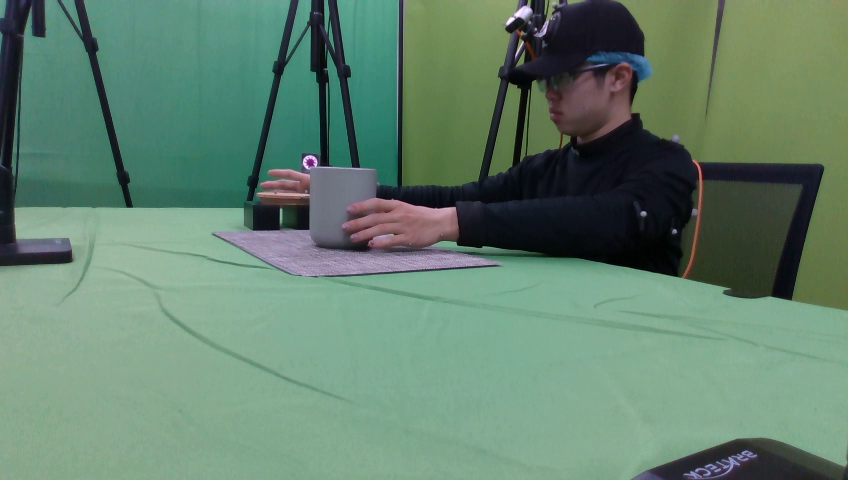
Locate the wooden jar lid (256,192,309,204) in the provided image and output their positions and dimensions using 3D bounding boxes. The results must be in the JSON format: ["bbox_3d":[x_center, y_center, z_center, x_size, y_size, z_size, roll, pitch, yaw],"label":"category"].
[{"bbox_3d":[-0.283,-0.086,1.223,0.108,0.020,0.108,3,7,0],"label":"wooden jar lid"}]

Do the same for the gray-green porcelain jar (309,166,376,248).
[{"bbox_3d":[-0.130,-0.054,0.966,0.106,0.126,0.106,2,8,0],"label":"gray-green porcelain jar"}]
